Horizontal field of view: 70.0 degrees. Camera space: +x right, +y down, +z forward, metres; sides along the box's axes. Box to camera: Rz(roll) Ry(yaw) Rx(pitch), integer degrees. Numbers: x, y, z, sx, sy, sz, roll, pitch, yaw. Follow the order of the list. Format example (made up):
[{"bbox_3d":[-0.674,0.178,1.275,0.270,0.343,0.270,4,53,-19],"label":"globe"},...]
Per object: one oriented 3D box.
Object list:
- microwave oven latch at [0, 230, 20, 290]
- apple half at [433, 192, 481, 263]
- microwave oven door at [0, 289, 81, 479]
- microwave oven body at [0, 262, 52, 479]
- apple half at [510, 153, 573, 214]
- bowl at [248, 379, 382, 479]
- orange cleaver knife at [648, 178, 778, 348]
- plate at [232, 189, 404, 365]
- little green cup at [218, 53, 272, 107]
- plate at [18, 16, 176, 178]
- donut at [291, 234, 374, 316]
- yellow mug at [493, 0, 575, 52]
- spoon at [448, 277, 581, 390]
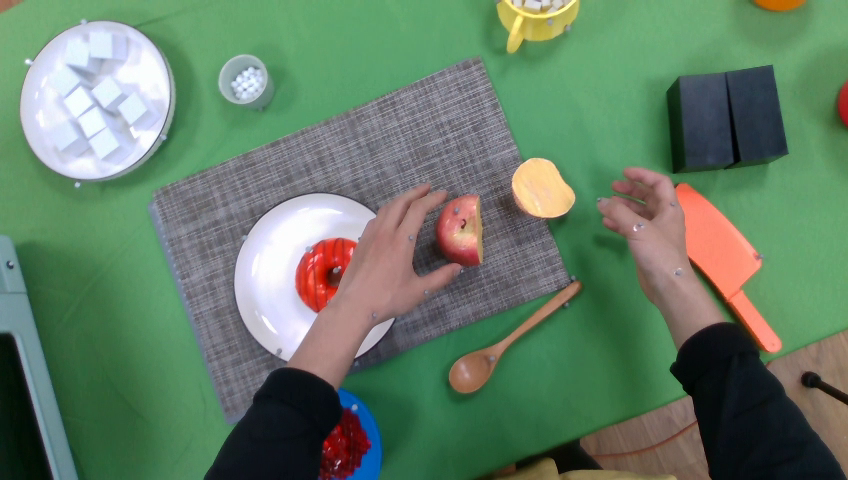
[{"bbox_3d":[-0.536,0.026,0.760,0.030,0.029,0.079,-18,85,5],"label":"microwave oven latch"},{"bbox_3d":[0.037,-0.013,0.694,0.053,0.075,0.080,-4,89,10],"label":"apple half"},{"bbox_3d":[-0.477,0.224,0.638,0.039,0.244,0.355,-20,84,5],"label":"microwave oven door"},{"bbox_3d":[-0.627,0.234,0.660,0.326,0.261,0.440,-20,85,4],"label":"microwave oven body"},{"bbox_3d":[0.129,-0.059,0.704,0.082,0.033,0.080,9,63,-18],"label":"apple half"},{"bbox_3d":[-0.116,0.230,0.698,0.151,0.077,0.151,0,86,7],"label":"bowl"},{"bbox_3d":[0.340,0.024,0.688,0.077,0.012,0.210,-37,82,-1],"label":"orange cleaver knife"},{"bbox_3d":[-0.125,0.044,0.727,0.209,0.038,0.208,0,86,7],"label":"plate"},{"bbox_3d":[-0.221,-0.196,0.757,0.061,0.039,0.061,-1,86,7],"label":"little green cup"},{"bbox_3d":[-0.413,-0.179,0.778,0.207,0.039,0.207,0,86,7],"label":"plate"},{"bbox_3d":[-0.108,0.041,0.714,0.099,0.048,0.099,0,89,7],"label":"donut"},{"bbox_3d":[0.124,-0.282,0.708,0.100,0.064,0.131,25,90,8],"label":"yellow mug"},{"bbox_3d":[0.108,0.107,0.708,0.194,0.022,0.041,-40,66,3],"label":"spoon"}]
